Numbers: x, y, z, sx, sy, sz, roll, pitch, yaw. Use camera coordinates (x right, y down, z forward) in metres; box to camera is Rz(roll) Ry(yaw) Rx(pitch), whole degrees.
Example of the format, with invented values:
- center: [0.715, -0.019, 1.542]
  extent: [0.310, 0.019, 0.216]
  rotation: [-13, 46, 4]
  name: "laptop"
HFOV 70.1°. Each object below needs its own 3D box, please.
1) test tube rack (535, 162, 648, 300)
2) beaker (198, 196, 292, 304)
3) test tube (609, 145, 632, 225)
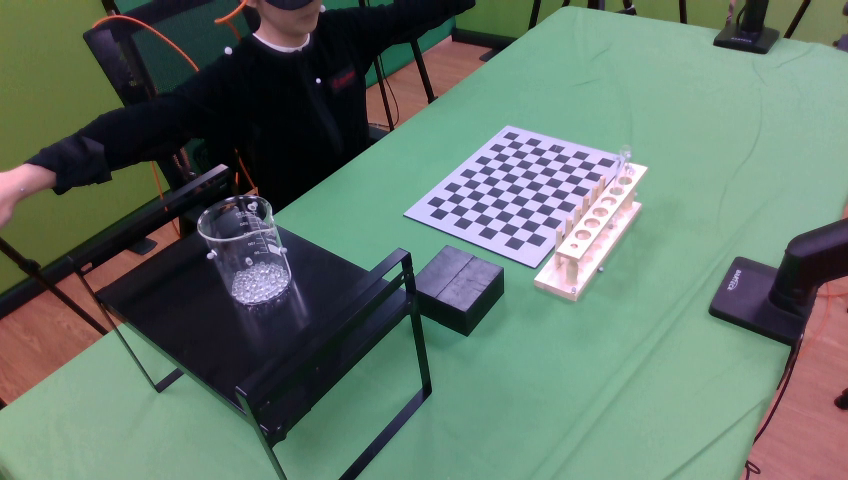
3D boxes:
- center: [0.257, -0.024, 0.916]
  extent: [0.066, 0.085, 0.243]
  rotation: [22, 49, 30]
  name: "test tube rack"
- center: [-0.185, 0.014, 0.651]
  extent: [0.083, 0.101, 0.074]
  rotation: [9, 44, 18]
  name: "beaker"
- center: [0.290, -0.078, 0.897]
  extent: [0.017, 0.151, 0.017]
  rotation: [-4, 46, 5]
  name: "test tube"
